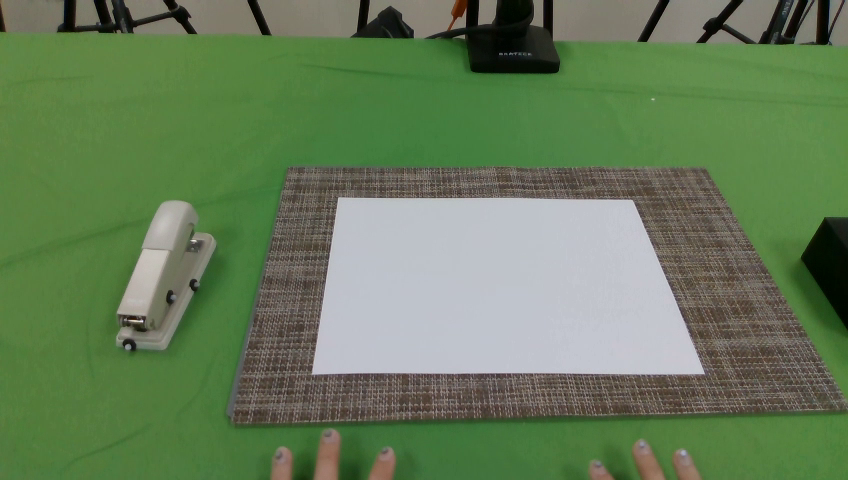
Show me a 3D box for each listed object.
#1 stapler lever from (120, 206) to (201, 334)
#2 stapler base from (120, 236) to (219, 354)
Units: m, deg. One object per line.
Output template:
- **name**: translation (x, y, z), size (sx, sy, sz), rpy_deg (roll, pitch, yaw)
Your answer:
- **stapler lever**: translation (-0.211, 0.020, 0.490), size (0.027, 0.040, 0.117), rpy_deg (2, 45, 4)
- **stapler base**: translation (-0.212, 0.037, 0.509), size (0.041, 0.024, 0.129), rpy_deg (3, 45, 4)
